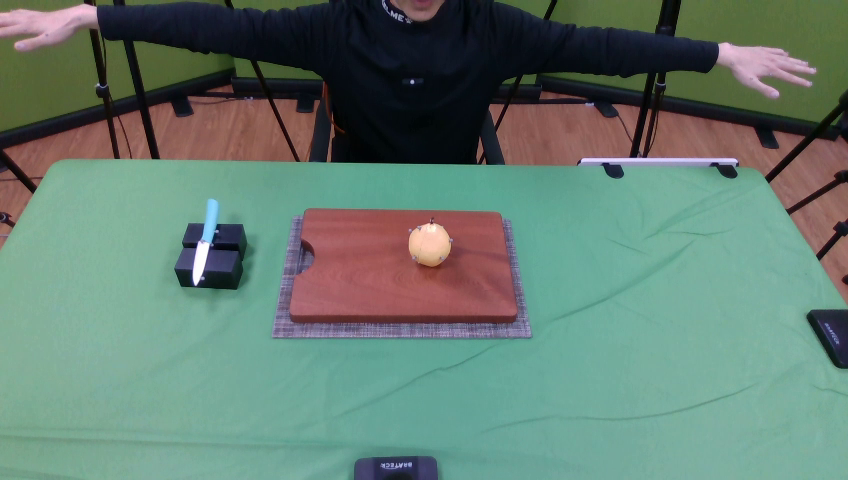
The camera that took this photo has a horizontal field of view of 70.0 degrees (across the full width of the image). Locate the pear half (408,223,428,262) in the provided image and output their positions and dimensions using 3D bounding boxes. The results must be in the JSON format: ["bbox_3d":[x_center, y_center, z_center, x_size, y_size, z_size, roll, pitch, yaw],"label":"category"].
[{"bbox_3d":[-0.013,-0.001,1.107,0.031,0.088,0.070,8,53,2],"label":"pear half"}]

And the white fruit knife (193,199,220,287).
[{"bbox_3d":[-0.396,0.002,1.103,0.027,0.016,0.206,-8,51,4],"label":"white fruit knife"}]

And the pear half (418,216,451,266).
[{"bbox_3d":[0.023,-0.001,1.096,0.056,0.110,0.076,9,50,3],"label":"pear half"}]
